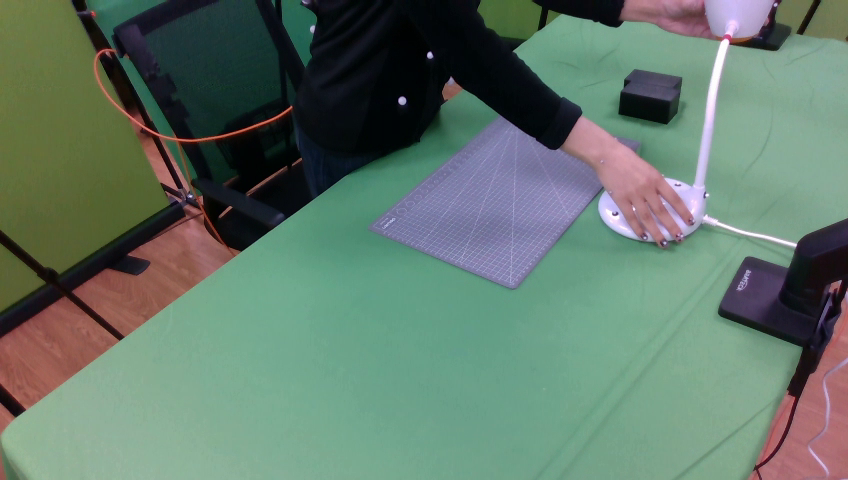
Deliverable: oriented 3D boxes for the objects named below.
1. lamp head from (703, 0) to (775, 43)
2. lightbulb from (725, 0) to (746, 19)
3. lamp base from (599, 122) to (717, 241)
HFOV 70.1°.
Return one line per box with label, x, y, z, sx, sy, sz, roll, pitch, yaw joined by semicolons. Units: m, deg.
lamp head;0.475;-0.362;0.913;0.112;0.123;0.112;-7;34;5
lightbulb;0.468;-0.385;0.904;0.059;0.108;0.059;-13;36;10
lamp base;0.367;-0.109;0.920;0.178;0.181;0.160;14;45;21
